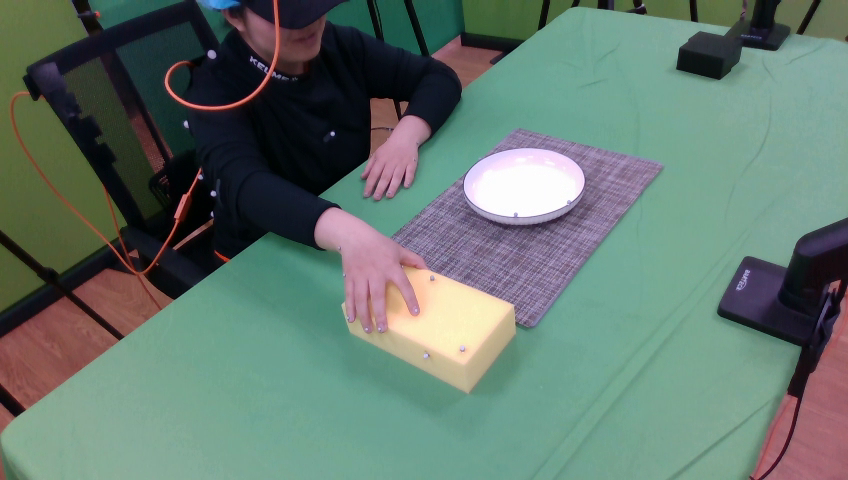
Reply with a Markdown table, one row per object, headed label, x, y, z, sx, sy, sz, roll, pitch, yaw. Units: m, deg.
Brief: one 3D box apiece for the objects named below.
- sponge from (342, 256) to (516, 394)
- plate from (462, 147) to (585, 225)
| label | x | y | z | sx | sy | sz | roll | pitch | yaw |
| --- | --- | --- | --- | --- | --- | --- | --- | --- | --- |
| sponge | 0.006 | 0.109 | 0.827 | 0.205 | 0.061 | 0.118 | 20 | 48 | 30 |
| plate | 0.170 | -0.089 | 1.041 | 0.207 | 0.039 | 0.206 | -5 | 40 | 5 |
